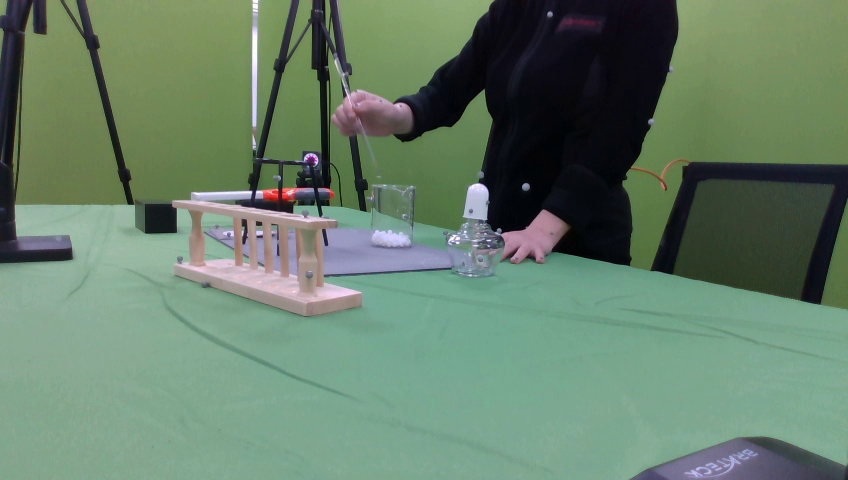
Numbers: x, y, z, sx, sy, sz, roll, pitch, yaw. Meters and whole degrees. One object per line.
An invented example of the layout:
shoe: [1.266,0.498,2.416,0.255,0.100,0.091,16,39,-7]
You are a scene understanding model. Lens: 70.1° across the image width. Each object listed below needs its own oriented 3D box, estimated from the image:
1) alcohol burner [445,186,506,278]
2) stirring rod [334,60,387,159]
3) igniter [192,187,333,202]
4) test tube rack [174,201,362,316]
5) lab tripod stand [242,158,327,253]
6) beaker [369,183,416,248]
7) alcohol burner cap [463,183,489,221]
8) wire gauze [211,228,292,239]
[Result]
alcohol burner: [0.066,-0.013,0.770,0.078,0.119,0.078,0,7,0]
stirring rod: [-0.101,-0.208,0.967,0.006,0.176,0.014,-28,1,-2]
igniter: [-0.316,-0.090,1.214,0.278,0.025,0.057,-5,13,-31]
test tube rack: [-0.169,0.009,0.622,0.241,0.085,0.067,9,9,41]
lab tripod stand: [-0.207,-0.054,0.895,0.148,0.131,0.148,2,5,0]
beaker: [-0.050,-0.039,0.971,0.074,0.100,0.083,-1,9,-25]
alcohol burner cap: [0.067,-0.048,0.765,0.034,0.048,0.034,5,5,0]
wire gauze: [-0.298,-0.013,1.039,0.122,0.011,0.124,-2,6,-27]
